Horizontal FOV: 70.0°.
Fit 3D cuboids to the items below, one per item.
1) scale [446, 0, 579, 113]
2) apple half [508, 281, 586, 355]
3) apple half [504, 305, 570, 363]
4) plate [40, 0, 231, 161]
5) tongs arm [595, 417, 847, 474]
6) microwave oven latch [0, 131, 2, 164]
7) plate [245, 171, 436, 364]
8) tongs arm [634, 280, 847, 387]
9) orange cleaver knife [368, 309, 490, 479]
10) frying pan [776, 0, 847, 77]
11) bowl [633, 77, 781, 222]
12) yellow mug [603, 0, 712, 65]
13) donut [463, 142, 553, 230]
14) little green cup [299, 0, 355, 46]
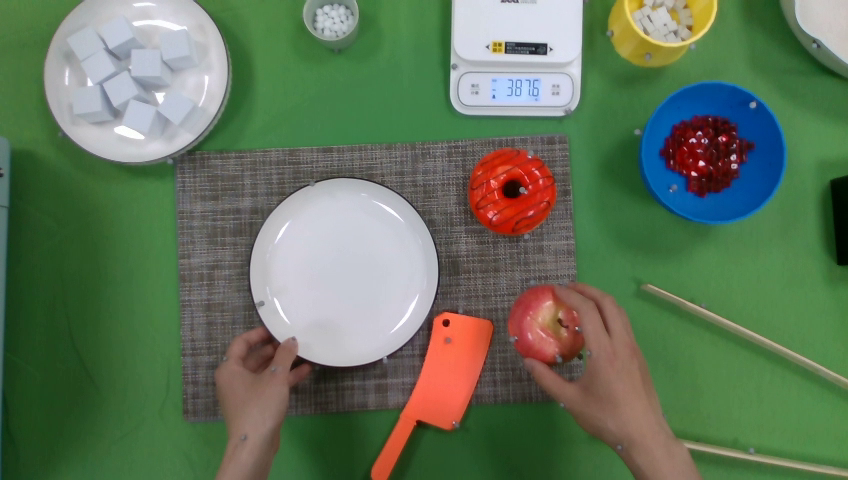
[{"bbox_3d":[0.101,-0.248,0.691,0.149,0.031,0.200,1,87,1],"label":"scale"},{"bbox_3d":[0.130,0.072,0.611,0.080,0.075,0.053,40,80,6],"label":"apple half"},{"bbox_3d":[0.105,0.101,0.606,0.081,0.081,0.033,41,80,2],"label":"apple half"},{"bbox_3d":[-0.319,-0.189,0.684,0.208,0.039,0.207,0,87,0],"label":"plate"},{"bbox_3d":[0.383,0.219,0.665,0.385,0.026,0.050,12,82,0],"label":"tongs arm"},{"bbox_3d":[-0.481,-0.087,0.659,0.030,0.029,0.079,2,88,0],"label":"microwave oven latch"},{"bbox_3d":[-0.090,0.030,0.669,0.209,0.038,0.208,0,87,0],"label":"plate"},{"bbox_3d":[0.409,0.137,0.674,0.387,0.028,0.028,27,79,2],"label":"tongs arm"},{"bbox_3d":[0.006,0.172,0.671,0.077,0.012,0.211,26,85,-6],"label":"orange cleaver knife"},{"bbox_3d":[0.576,-0.218,0.655,0.307,0.103,0.485,-30,79,-1],"label":"frying pan"},{"bbox_3d":[0.293,-0.092,0.661,0.151,0.077,0.151,0,88,0],"label":"bowl"},{"bbox_3d":[0.249,-0.268,0.676,0.100,0.064,0.130,-35,87,-1],"label":"yellow mug"},{"bbox_3d":[0.092,-0.059,0.672,0.099,0.048,0.099,0,88,2],"label":"donut"},{"bbox_3d":[-0.107,-0.253,0.688,0.061,0.038,0.061,0,86,1],"label":"little green cup"}]
